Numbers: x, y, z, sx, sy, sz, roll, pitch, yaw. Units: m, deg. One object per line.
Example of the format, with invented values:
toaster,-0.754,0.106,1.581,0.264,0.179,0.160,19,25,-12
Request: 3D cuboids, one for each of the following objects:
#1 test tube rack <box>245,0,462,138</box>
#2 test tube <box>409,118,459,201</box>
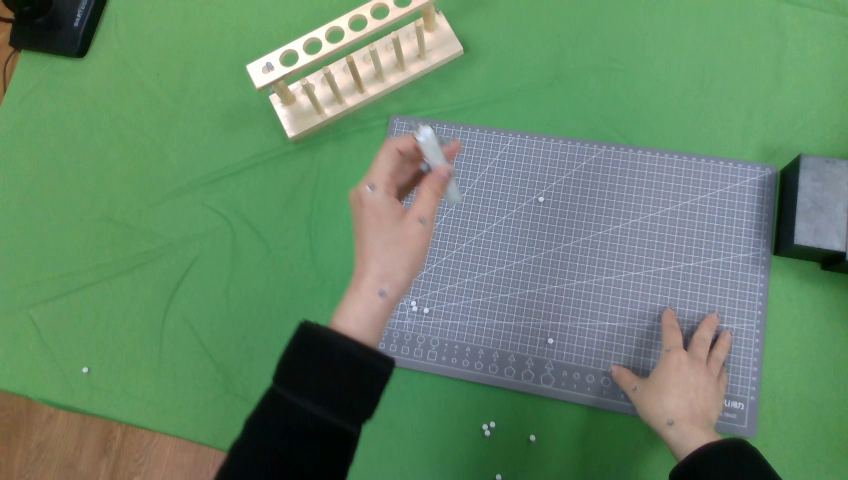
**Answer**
test tube rack,-0.079,-0.219,0.725,0.242,0.085,0.066,-27,75,-1
test tube,0.011,-0.059,0.481,0.017,0.151,0.017,-2,76,10
